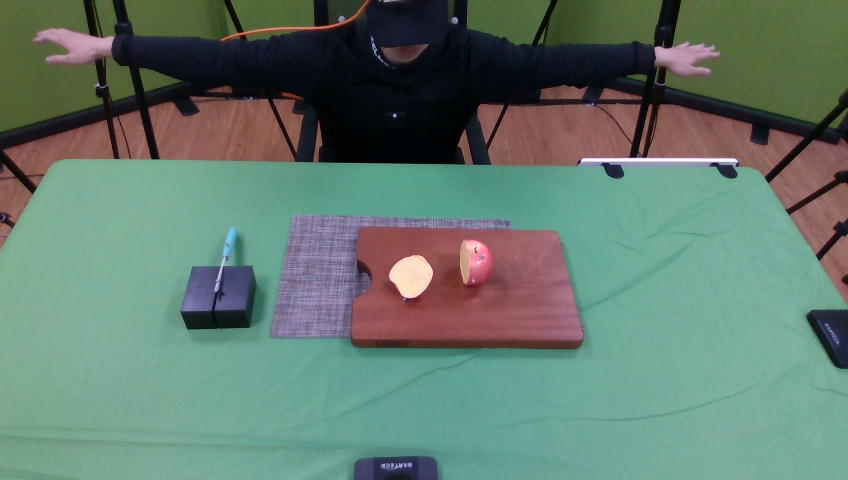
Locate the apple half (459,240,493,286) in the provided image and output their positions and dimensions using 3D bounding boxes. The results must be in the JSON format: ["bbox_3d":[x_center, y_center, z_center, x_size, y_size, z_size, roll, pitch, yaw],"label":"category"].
[{"bbox_3d":[0.096,0.042,1.093,0.053,0.075,0.080,-1,42,-11],"label":"apple half"}]

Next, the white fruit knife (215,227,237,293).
[{"bbox_3d":[-0.360,0.033,1.100,0.016,0.027,0.206,0,32,-9],"label":"white fruit knife"}]

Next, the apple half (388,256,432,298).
[{"bbox_3d":[-0.019,0.069,1.080,0.081,0.033,0.081,-6,62,12],"label":"apple half"}]
